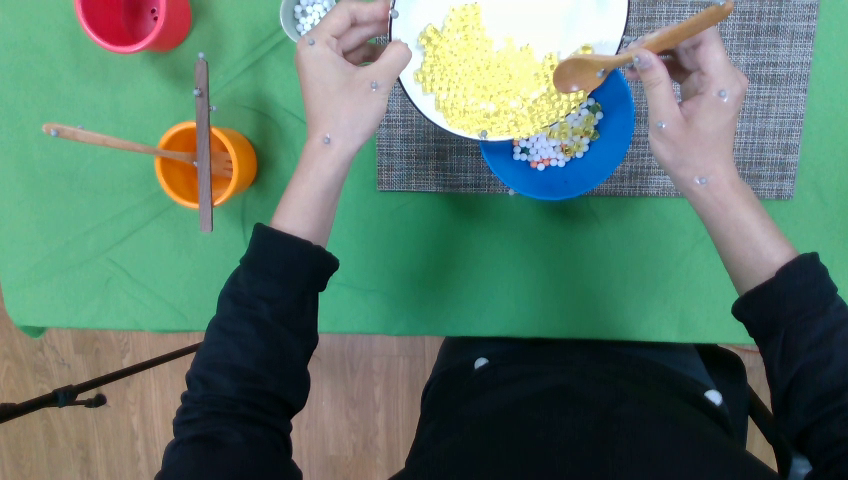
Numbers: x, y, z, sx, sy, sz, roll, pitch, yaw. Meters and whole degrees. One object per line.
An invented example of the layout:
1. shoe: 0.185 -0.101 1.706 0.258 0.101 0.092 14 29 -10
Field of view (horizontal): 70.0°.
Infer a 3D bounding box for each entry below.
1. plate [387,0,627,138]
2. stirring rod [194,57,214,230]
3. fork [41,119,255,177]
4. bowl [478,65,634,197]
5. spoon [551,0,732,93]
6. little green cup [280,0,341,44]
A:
1. plate: 0.069 -0.188 0.521 0.209 0.037 0.211 -7 130 -8
2. stirring rod: -0.227 -0.097 0.624 0.014 0.006 0.176 4 103 4
3. fork: -0.278 -0.096 0.632 0.209 0.018 0.028 9 111 -40
4. bowl: 0.128 -0.124 0.616 0.151 0.076 0.152 1 105 4
5. spoon: 0.163 -0.150 0.481 0.042 0.193 0.021 36 80 -17
6. little green cup: -0.117 -0.237 0.641 0.061 0.038 0.062 1 103 7
